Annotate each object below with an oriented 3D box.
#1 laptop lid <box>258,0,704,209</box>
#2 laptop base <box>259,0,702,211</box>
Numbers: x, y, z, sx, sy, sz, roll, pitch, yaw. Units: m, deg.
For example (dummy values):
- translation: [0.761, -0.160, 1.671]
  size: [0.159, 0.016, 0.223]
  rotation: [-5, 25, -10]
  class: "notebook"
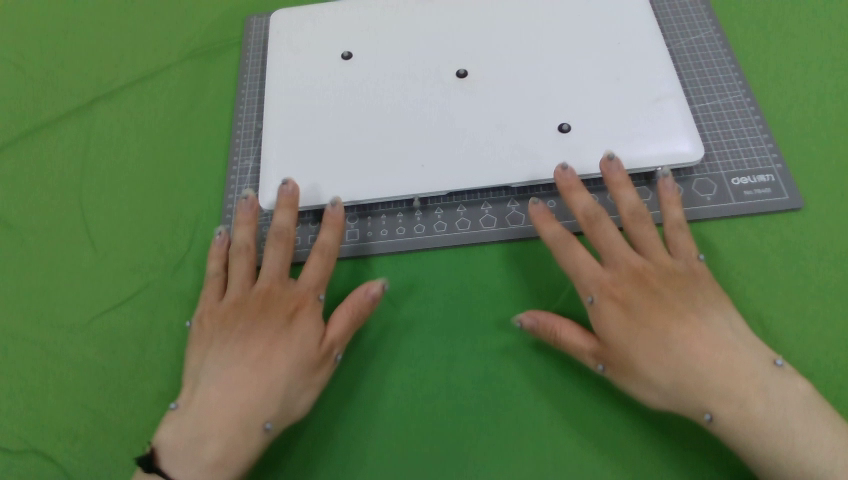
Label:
- translation: [0.035, -0.144, 0.523]
  size: [0.356, 0.013, 0.239]
  rotation: [-5, 62, 3]
  class: "laptop lid"
- translation: [0.036, -0.140, 0.534]
  size: [0.354, 0.023, 0.233]
  rotation: [-6, 64, 2]
  class: "laptop base"
